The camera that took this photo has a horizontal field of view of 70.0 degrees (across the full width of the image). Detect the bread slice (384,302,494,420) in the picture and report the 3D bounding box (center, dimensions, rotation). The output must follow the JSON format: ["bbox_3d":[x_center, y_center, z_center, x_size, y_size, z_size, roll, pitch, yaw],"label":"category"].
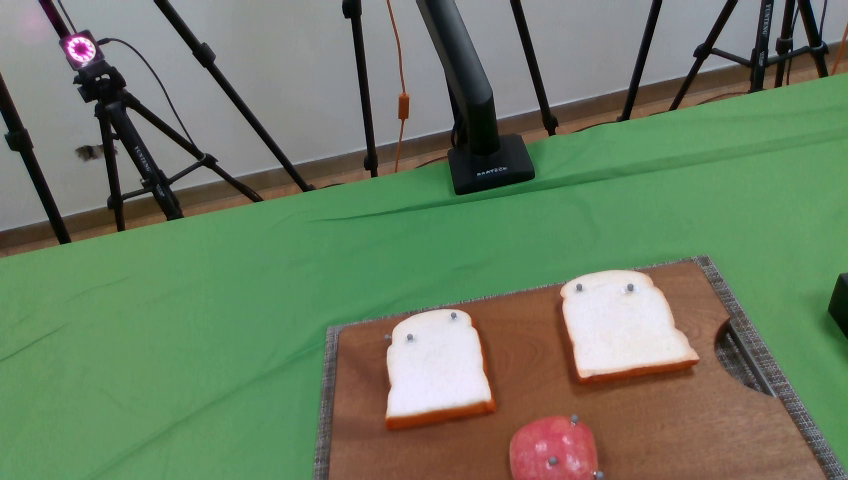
[{"bbox_3d":[0.009,0.116,0.612,0.105,0.019,0.130,-11,40,3],"label":"bread slice"}]

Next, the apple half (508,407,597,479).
[{"bbox_3d":[0.106,0.168,0.507,0.081,0.033,0.080,-7,41,7],"label":"apple half"}]

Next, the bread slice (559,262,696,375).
[{"bbox_3d":[0.188,0.073,0.602,0.107,0.018,0.133,-13,39,3],"label":"bread slice"}]
